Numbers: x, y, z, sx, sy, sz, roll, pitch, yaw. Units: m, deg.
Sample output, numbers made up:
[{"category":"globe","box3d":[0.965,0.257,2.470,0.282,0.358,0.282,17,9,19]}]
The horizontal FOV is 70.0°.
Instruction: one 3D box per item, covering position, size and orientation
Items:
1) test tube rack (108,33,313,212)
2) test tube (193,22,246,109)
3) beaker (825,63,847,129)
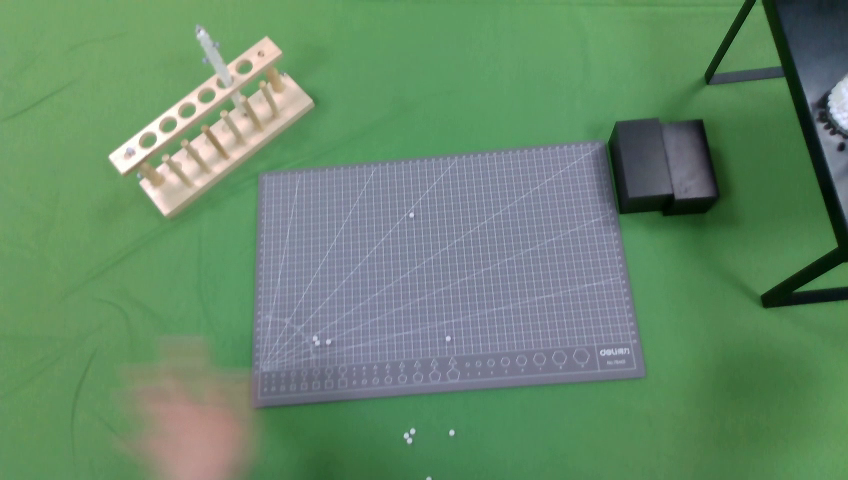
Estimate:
[{"category":"test tube rack","box3d":[-0.265,-0.149,0.777,0.242,0.086,0.066,-41,72,-9]},{"category":"test tube","box3d":[-0.246,-0.208,0.743,0.017,0.151,0.017,-1,67,3]},{"category":"beaker","box3d":[0.405,-0.145,0.522,0.074,0.101,0.083,-9,70,2]}]
